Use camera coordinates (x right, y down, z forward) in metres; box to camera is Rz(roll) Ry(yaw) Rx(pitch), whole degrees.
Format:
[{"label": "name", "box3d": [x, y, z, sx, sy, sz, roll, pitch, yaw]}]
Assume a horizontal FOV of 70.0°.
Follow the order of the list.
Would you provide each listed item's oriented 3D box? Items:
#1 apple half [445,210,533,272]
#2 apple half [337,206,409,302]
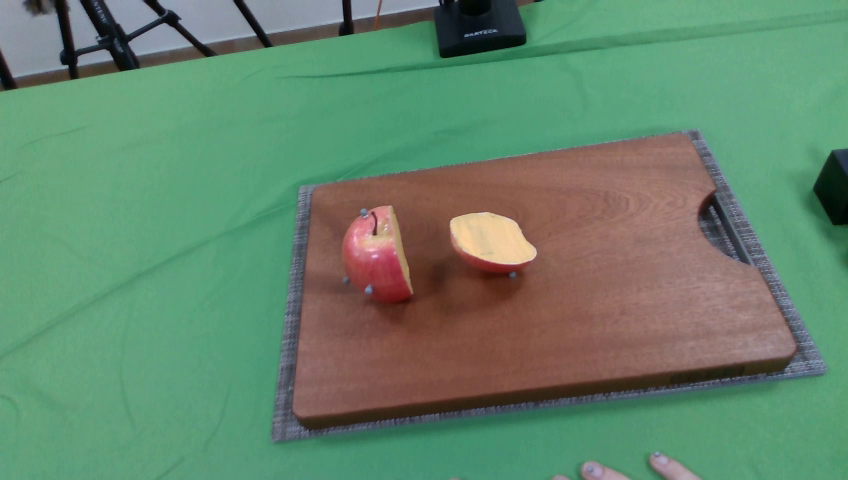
[{"label": "apple half", "box3d": [0.053, 0.007, 0.540, 0.081, 0.033, 0.080, 10, 35, -7]}, {"label": "apple half", "box3d": [-0.047, 0.017, 0.528, 0.053, 0.075, 0.080, -16, 53, 2]}]
